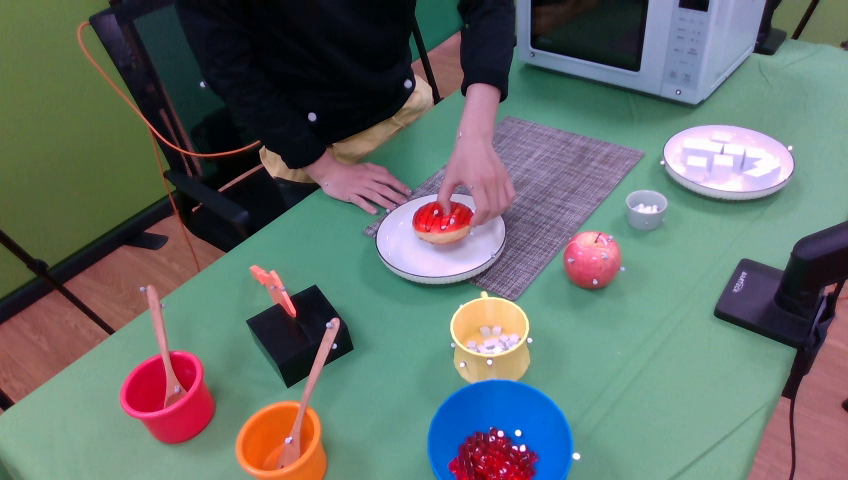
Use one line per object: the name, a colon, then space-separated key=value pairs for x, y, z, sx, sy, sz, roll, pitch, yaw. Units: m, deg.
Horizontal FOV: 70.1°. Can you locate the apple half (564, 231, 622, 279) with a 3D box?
apple half: x=0.248 y=0.021 z=0.874 sx=0.080 sy=0.075 sz=0.053 roll=13 pitch=40 yaw=28

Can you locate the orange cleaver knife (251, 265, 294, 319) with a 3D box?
orange cleaver knife: x=-0.221 y=0.073 z=0.876 sx=0.012 sy=0.077 sz=0.210 roll=-23 pitch=12 yaw=-22

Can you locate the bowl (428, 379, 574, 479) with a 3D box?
bowl: x=0.082 y=0.233 z=0.644 sx=0.151 sy=0.077 sz=0.150 roll=-4 pitch=39 yaw=4

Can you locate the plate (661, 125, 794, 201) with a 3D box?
plate: x=0.514 y=-0.128 z=1.035 sx=0.207 sy=0.039 sz=0.206 roll=-4 pitch=40 yaw=4

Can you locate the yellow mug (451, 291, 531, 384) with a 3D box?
yellow mug: x=0.085 y=0.120 z=0.786 sx=0.100 sy=0.064 sz=0.130 roll=-7 pitch=39 yaw=1

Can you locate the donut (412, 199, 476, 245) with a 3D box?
donut: x=0.030 y=-0.029 z=0.925 sx=0.099 sy=0.048 sz=0.098 roll=-7 pitch=32 yaw=5

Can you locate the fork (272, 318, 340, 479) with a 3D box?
fork: x=-0.131 y=0.186 z=0.676 sx=0.028 sy=0.019 sz=0.207 roll=18 pitch=90 yaw=28

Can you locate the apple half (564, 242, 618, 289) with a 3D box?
apple half: x=0.229 y=0.044 z=0.848 sx=0.081 sy=0.081 sz=0.033 roll=16 pitch=41 yaw=26

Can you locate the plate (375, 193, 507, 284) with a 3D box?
plate: x=0.028 y=0.000 z=0.952 sx=0.209 sy=0.038 sz=0.208 roll=-4 pitch=40 yaw=4

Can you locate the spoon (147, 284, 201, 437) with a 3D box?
spoon: x=-0.318 y=0.148 z=0.754 sx=0.042 sy=0.021 sz=0.193 roll=-15 pitch=86 yaw=-6

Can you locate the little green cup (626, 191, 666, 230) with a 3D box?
little green cup: x=0.352 y=-0.046 z=0.963 sx=0.061 sy=0.039 sz=0.061 roll=-4 pitch=40 yaw=4

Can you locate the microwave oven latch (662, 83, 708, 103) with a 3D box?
microwave oven latch: x=0.518 y=-0.297 z=1.205 sx=0.078 sy=0.029 sz=0.030 roll=29 pitch=53 yaw=36

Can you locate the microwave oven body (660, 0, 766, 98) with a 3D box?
microwave oven body: x=0.473 y=-0.513 z=1.317 sx=0.438 sy=0.261 sz=0.327 roll=26 pitch=51 yaw=34

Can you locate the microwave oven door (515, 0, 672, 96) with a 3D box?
microwave oven door: x=0.344 y=-0.455 z=1.259 sx=0.353 sy=0.245 sz=0.039 roll=26 pitch=51 yaw=33
